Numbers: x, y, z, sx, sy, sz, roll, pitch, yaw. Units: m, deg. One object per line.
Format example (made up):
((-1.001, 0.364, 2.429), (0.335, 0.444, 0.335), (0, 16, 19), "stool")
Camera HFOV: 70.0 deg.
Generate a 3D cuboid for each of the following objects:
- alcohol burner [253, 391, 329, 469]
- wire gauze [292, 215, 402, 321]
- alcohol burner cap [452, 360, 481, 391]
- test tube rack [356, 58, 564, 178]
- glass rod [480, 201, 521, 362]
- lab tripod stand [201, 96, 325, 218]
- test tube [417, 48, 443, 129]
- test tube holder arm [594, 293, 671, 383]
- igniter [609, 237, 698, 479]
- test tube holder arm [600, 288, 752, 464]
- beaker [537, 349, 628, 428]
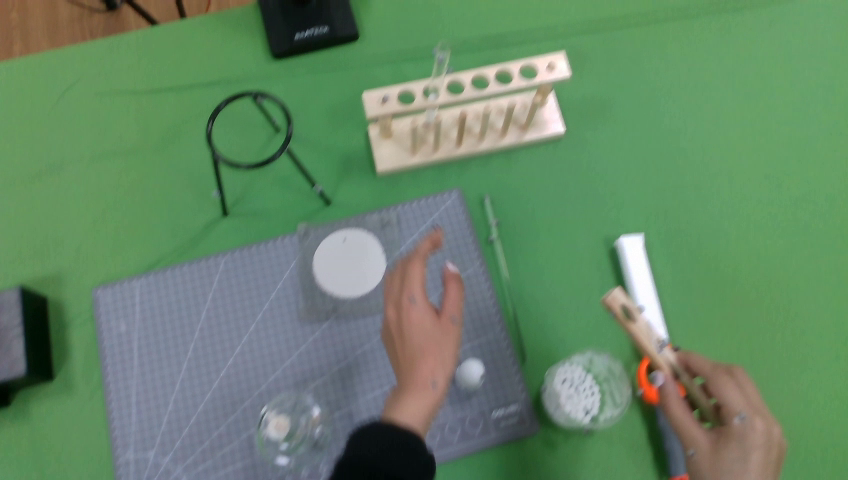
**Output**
((-0.137, 0.189, 0.608), (0.078, 0.120, 0.077), (-1, 71, 2), "alcohol burner")
((-0.093, 0.033, 0.716), (0.125, 0.011, 0.120), (-5, 73, -3), "wire gauze")
((0.048, 0.146, 0.661), (0.034, 0.048, 0.033), (0, 72, 0), "alcohol burner cap")
((0.046, -0.146, 0.738), (0.242, 0.085, 0.066), (-12, 72, -4), "test tube rack")
((0.089, 0.046, 0.715), (0.008, 0.008, 0.198), (-10, 74, -4), "glass rod")
((-0.190, -0.088, 0.692), (0.148, 0.132, 0.147), (0, 73, 0), "lab tripod stand")
((0.006, -0.168, 0.692), (0.017, 0.151, 0.017), (2, 71, -5), "test tube")
((0.171, 0.080, 0.493), (0.010, 0.015, 0.088), (-40, 89, -11), "test tube holder arm")
((0.255, 0.129, 0.679), (0.057, 0.025, 0.274), (-4, 71, -12), "igniter")
((0.205, 0.110, 0.493), (0.013, 0.015, 0.178), (-41, 89, -11), "test tube holder arm")
((0.157, 0.157, 0.631), (0.084, 0.101, 0.073), (14, 71, 6), "beaker")
